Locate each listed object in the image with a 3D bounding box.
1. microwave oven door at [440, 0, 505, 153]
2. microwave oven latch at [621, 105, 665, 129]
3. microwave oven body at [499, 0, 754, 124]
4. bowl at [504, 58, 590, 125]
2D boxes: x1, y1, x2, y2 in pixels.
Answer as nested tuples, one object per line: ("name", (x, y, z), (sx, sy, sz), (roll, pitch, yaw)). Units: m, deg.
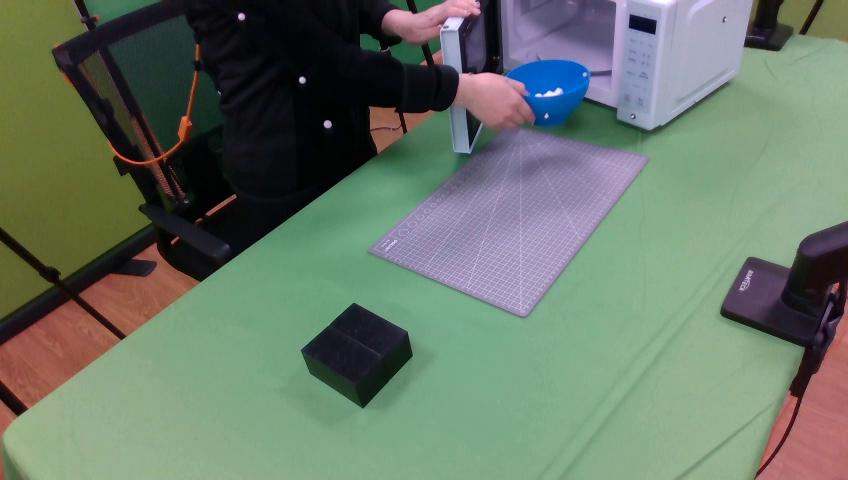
("microwave oven door", (0.106, -0.374, 1.210), (0.039, 0.245, 0.355), (6, 42, 17))
("microwave oven latch", (0.413, -0.237, 1.146), (0.030, 0.029, 0.078), (-31, 44, -22))
("microwave oven body", (0.402, -0.458, 1.259), (0.327, 0.261, 0.437), (-33, 45, -24))
("bowl", (0.222, -0.260, 1.089), (0.151, 0.077, 0.150), (-6, 39, 6))
